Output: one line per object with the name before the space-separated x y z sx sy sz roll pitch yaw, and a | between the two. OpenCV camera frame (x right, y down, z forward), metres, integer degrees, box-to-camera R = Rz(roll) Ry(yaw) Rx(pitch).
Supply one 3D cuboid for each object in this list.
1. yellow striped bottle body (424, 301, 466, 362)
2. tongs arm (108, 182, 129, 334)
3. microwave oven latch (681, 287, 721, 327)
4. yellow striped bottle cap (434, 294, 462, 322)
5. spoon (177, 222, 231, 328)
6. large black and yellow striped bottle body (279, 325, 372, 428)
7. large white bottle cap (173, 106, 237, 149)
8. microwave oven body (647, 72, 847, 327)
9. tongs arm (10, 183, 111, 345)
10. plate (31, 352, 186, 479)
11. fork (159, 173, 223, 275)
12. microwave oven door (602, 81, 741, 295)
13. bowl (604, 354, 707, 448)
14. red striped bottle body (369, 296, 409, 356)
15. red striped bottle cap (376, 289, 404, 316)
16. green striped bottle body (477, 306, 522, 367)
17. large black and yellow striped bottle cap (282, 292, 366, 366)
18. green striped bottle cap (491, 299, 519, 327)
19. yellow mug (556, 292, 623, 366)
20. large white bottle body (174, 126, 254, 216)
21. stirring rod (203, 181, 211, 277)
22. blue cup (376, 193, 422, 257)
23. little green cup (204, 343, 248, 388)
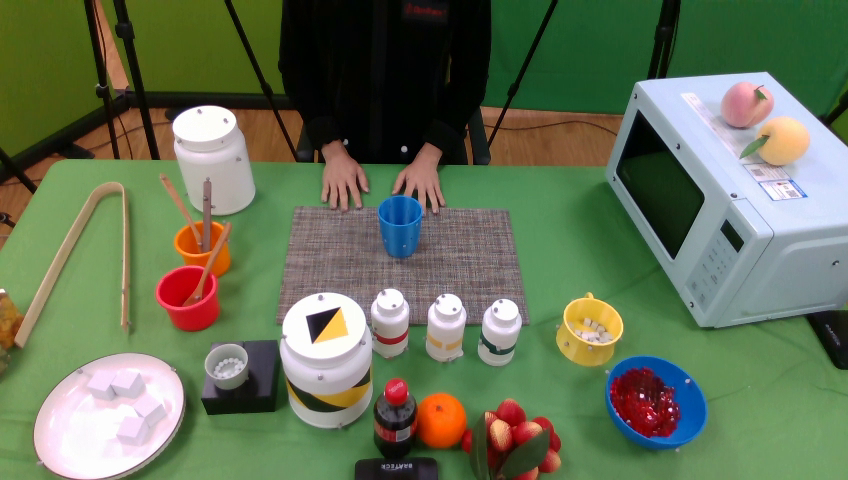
yellow striped bottle body | 0.035 0.143 0.995 0.063 0.121 0.062 3 46 -3
tongs arm | -0.571 0.019 1.123 0.051 0.026 0.382 -11 47 -12
microwave oven latch | 0.494 0.119 1.087 0.030 0.029 0.078 -6 46 -9
yellow striped bottle cap | 0.038 0.107 0.958 0.044 0.019 0.044 2 45 -2
spoon | -0.369 0.059 1.027 0.041 0.022 0.193 25 94 18
large black and yellow striped bottle body | -0.143 0.181 0.900 0.131 0.185 0.130 2 46 -2
large white bottle cap | -0.411 -0.212 1.138 0.115 0.018 0.114 2 47 -2
microwave oven body | 0.607 -0.089 1.164 0.326 0.261 0.438 -7 46 -10
tongs arm | -0.658 0.027 1.109 0.028 0.028 0.385 -2 45 2
plate | -0.459 0.262 0.898 0.209 0.038 0.208 2 46 -2
fork | -0.426 -0.029 1.104 0.028 0.018 0.207 -31 99 -30
microwave oven door | 0.456 -0.107 1.162 0.039 0.245 0.353 -7 47 -11
bowl | 0.346 0.261 0.937 0.151 0.077 0.150 2 46 -2
red striped bottle body | -0.059 0.134 0.997 0.063 0.120 0.062 5 48 -5
red striped bottle cap | -0.054 0.098 0.958 0.044 0.018 0.044 0 48 0
green striped bottle body | 0.124 0.151 0.995 0.063 0.120 0.063 2 46 -2
large black and yellow striped bottle cap | -0.138 0.121 0.841 0.115 0.019 0.114 3 47 -3
green striped bottle cap | 0.128 0.115 0.958 0.044 0.020 0.044 1 46 -1
yellow mug | 0.285 0.145 1.051 0.100 0.064 0.130 7 46 3
large white bottle body | -0.415 -0.154 1.199 0.131 0.185 0.130 2 46 -2
stirring rod | -0.397 -0.021 1.107 0.014 0.006 0.176 0 89 -2
blue cup | -0.047 -0.021 1.155 0.093 0.101 0.092 1 47 -1
little green cup | -0.294 0.190 0.909 0.061 0.039 0.061 1 48 0
